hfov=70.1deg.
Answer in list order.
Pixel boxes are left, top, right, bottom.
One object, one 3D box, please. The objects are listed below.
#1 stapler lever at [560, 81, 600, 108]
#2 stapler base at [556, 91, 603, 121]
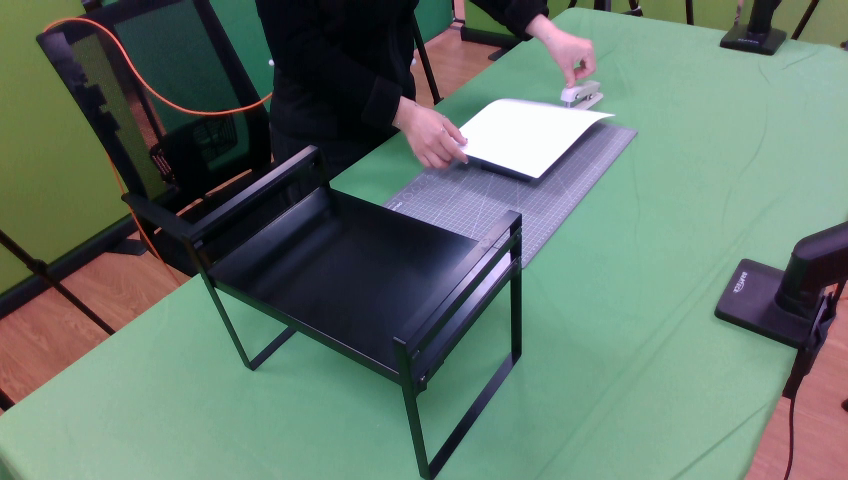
[{"bbox_3d":[0.323,-0.308,1.246,0.026,0.040,0.118,28,49,34],"label":"stapler lever"},{"bbox_3d":[0.324,-0.287,1.261,0.041,0.024,0.131,28,49,34],"label":"stapler base"}]
